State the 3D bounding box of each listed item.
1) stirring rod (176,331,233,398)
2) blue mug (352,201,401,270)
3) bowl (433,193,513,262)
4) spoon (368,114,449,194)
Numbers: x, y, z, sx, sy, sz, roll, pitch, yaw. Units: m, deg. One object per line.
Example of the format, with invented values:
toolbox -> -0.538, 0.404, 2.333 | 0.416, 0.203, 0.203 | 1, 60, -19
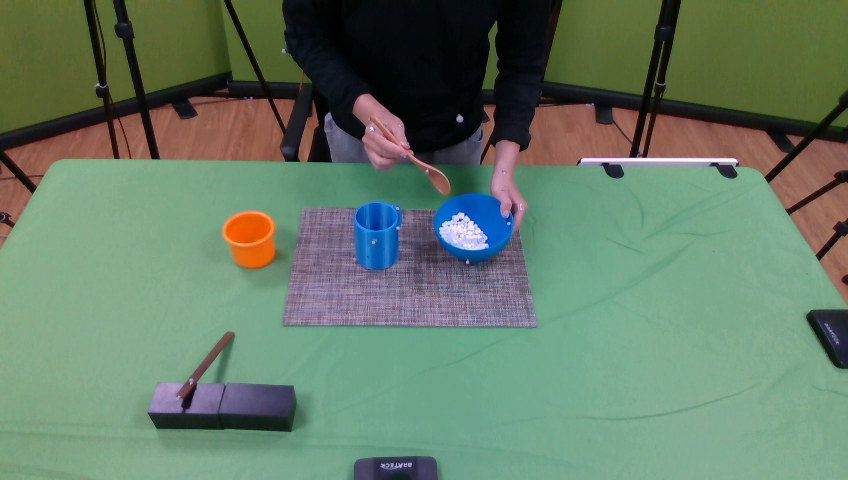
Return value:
stirring rod -> -0.342, 0.192, 0.955 | 0.014, 0.006, 0.175 | 4, 24, 6
blue mug -> -0.082, -0.017, 1.144 | 0.082, 0.106, 0.116 | 30, 51, 22
bowl -> 0.093, -0.011, 1.152 | 0.151, 0.077, 0.150 | -2, 48, 3
spoon -> -0.026, -0.151, 1.066 | 0.194, 0.041, 0.021 | 41, 63, -14
